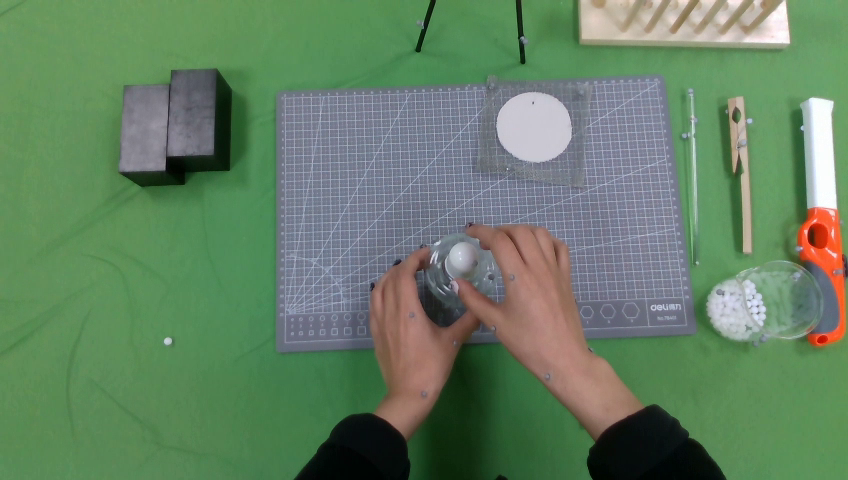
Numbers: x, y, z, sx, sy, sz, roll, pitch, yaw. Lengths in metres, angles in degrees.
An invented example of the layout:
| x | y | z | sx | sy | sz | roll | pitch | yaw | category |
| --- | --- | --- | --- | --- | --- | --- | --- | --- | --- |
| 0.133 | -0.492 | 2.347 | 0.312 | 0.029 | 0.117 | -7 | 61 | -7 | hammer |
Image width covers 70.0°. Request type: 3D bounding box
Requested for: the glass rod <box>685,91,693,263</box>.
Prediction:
| x | y | z | sx | sy | sz | roll | pitch | yaw | category |
| --- | --- | --- | --- | --- | --- | --- | --- | --- | --- |
| 0.298 | -0.073 | 0.681 | 0.008 | 0.008 | 0.199 | 3 | 81 | 1 | glass rod |

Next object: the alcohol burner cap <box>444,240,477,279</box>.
| x | y | z | sx | sy | sz | roll | pitch | yaw | category |
| --- | --- | --- | --- | --- | --- | --- | --- | --- | --- |
| 0.036 | 0.016 | 0.573 | 0.034 | 0.048 | 0.033 | 1 | 74 | -2 | alcohol burner cap |

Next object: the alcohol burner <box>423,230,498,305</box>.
| x | y | z | sx | sy | sz | roll | pitch | yaw | category |
| --- | --- | --- | --- | --- | --- | --- | --- | --- | --- |
| 0.036 | 0.024 | 0.608 | 0.078 | 0.119 | 0.077 | 0 | 77 | 2 | alcohol burner |

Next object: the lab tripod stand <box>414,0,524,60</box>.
| x | y | z | sx | sy | sz | roll | pitch | yaw | category |
| --- | --- | --- | --- | --- | --- | --- | --- | --- | --- |
| 0.056 | -0.266 | 0.656 | 0.148 | 0.132 | 0.148 | 0 | 81 | 1 | lab tripod stand |

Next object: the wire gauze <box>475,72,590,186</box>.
| x | y | z | sx | sy | sz | roll | pitch | yaw | category |
| --- | --- | --- | --- | --- | --- | --- | --- | --- | --- |
| 0.125 | -0.129 | 0.691 | 0.125 | 0.011 | 0.121 | 9 | 80 | 1 | wire gauze |

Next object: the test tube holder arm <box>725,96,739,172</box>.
| x | y | z | sx | sy | sz | roll | pitch | yaw | category |
| --- | --- | --- | --- | --- | --- | --- | --- | --- | --- |
| 0.351 | -0.120 | 0.687 | 0.010 | 0.015 | 0.087 | -7 | 77 | 34 | test tube holder arm |

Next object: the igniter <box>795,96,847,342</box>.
| x | y | z | sx | sy | sz | roll | pitch | yaw | category |
| --- | --- | --- | --- | --- | --- | --- | --- | --- | --- |
| 0.432 | -0.026 | 0.663 | 0.057 | 0.025 | 0.275 | 7 | 79 | -9 | igniter |

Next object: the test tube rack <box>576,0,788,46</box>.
| x | y | z | sx | sy | sz | roll | pitch | yaw | category |
| --- | --- | --- | --- | --- | --- | --- | --- | --- | --- |
| 0.303 | -0.272 | 0.681 | 0.242 | 0.085 | 0.066 | 1 | 79 | 1 | test tube rack |

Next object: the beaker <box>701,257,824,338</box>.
| x | y | z | sx | sy | sz | roll | pitch | yaw | category |
| --- | --- | --- | --- | --- | --- | --- | --- | --- | --- |
| 0.330 | 0.061 | 0.610 | 0.084 | 0.100 | 0.074 | 29 | 80 | 7 | beaker |

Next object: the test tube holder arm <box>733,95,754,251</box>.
| x | y | z | sx | sy | sz | roll | pitch | yaw | category |
| --- | --- | --- | --- | --- | --- | --- | --- | --- | --- |
| 0.355 | -0.076 | 0.675 | 0.013 | 0.015 | 0.177 | -8 | 77 | 34 | test tube holder arm |
